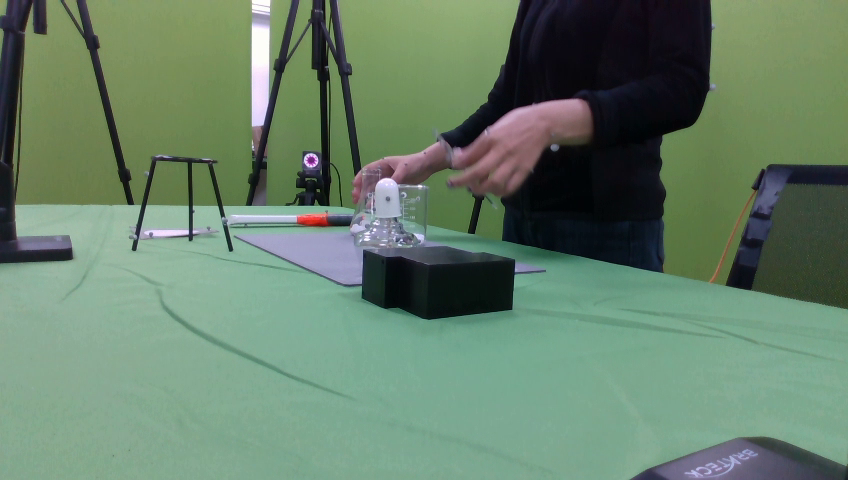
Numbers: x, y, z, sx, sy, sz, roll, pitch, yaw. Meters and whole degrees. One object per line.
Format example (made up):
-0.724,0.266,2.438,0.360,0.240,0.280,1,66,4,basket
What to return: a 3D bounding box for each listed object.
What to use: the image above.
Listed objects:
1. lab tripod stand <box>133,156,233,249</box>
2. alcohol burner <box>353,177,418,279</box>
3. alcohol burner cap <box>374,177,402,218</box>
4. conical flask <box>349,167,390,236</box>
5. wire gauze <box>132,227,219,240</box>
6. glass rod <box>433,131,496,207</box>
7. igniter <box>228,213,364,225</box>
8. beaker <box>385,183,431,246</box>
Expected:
-0.342,-0.054,0.878,0.148,0.131,0.148,4,6,0,lab tripod stand
-0.044,-0.014,0.710,0.078,0.119,0.078,4,9,0,alcohol burner
-0.044,-0.049,0.704,0.034,0.048,0.034,-4,9,1,alcohol burner cap
-0.097,-0.070,1.095,0.075,0.122,0.075,2,8,0,conical flask
-0.421,-0.014,1.024,0.122,0.011,0.124,-2,7,-34,wire gauze
0.060,-0.095,0.847,0.008,0.008,0.201,7,-21,34,glass rod
-0.252,-0.043,1.227,0.278,0.025,0.057,-2,-2,-32,igniter
-0.031,-0.043,1.000,0.084,0.100,0.074,4,7,15,beaker
